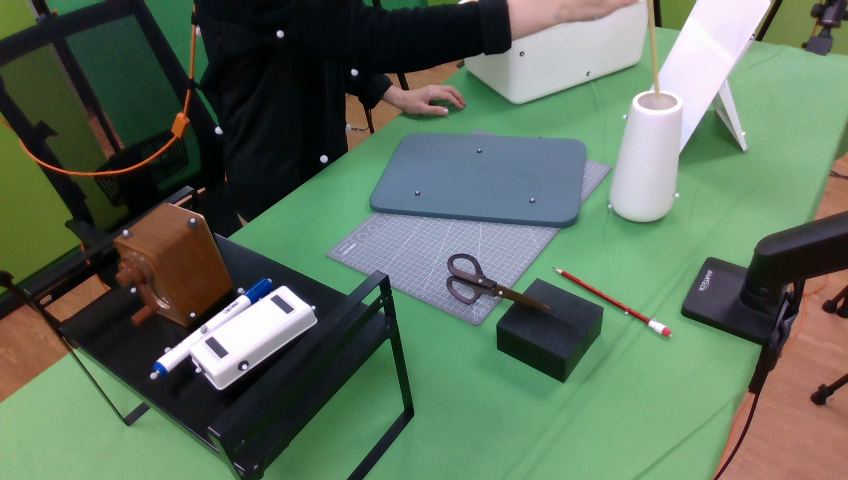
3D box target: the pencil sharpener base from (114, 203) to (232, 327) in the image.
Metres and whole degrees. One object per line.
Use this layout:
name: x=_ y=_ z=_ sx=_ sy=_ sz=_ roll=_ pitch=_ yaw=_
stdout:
pencil sharpener base: x=-0.262 y=0.029 z=0.635 sx=0.061 sy=0.107 sz=0.077 roll=18 pitch=47 yaw=26

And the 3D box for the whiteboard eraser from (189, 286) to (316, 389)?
whiteboard eraser: x=-0.166 y=0.096 z=0.593 sx=0.113 sy=0.042 sz=0.055 roll=-36 pitch=46 yaw=-29

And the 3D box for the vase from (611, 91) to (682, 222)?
vase: x=0.348 y=-0.125 z=0.935 sx=0.098 sy=0.201 sz=0.097 roll=-3 pitch=40 yaw=3

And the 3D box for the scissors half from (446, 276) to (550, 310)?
scissors half: x=0.098 y=0.077 z=0.827 sx=0.174 sy=0.040 sz=0.013 roll=6 pitch=15 yaw=44

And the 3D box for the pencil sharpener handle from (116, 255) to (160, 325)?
pencil sharpener handle: x=-0.286 y=0.050 z=0.594 sx=0.035 sy=0.068 sz=0.031 roll=7 pitch=41 yaw=35

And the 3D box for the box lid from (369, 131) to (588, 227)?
box lid: x=0.107 y=-0.120 z=1.107 sx=0.370 sy=0.015 sz=0.263 roll=5 pitch=42 yaw=14

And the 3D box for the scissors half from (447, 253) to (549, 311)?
scissors half: x=0.098 y=0.058 z=0.821 sx=0.173 sy=0.040 sz=0.013 roll=27 pitch=34 yaw=36

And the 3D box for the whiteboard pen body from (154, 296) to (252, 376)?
whiteboard pen body: x=-0.214 y=0.088 z=0.619 sx=0.017 sy=0.017 sz=0.141 roll=19 pitch=42 yaw=28

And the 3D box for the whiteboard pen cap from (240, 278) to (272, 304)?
whiteboard pen cap: x=-0.183 y=0.057 z=0.658 sx=0.018 sy=0.018 sz=0.033 roll=19 pitch=44 yaw=28

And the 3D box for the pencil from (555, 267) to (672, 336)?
pencil: x=0.260 y=0.082 z=0.850 sx=0.012 sy=0.012 sz=0.192 roll=-33 pitch=46 yaw=-27

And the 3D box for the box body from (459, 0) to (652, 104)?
box body: x=0.291 y=-0.465 z=1.371 sx=0.365 sy=0.161 sz=0.252 roll=-22 pitch=42 yaw=-16

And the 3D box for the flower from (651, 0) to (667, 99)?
flower: x=0.281 y=-0.332 z=0.754 sx=0.044 sy=0.364 sz=0.038 roll=-19 pitch=37 yaw=10

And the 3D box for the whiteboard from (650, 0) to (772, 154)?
whiteboard: x=0.543 y=-0.298 z=1.076 sx=0.144 sy=0.305 sz=0.216 roll=12 pitch=40 yaw=-7
